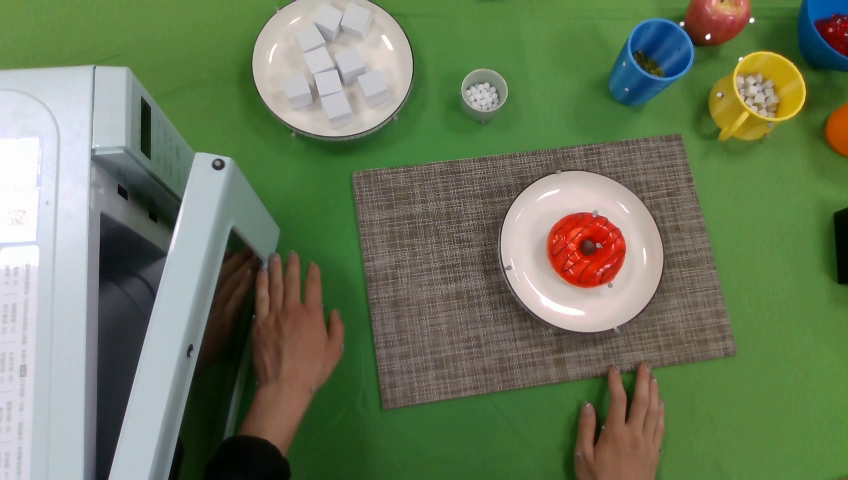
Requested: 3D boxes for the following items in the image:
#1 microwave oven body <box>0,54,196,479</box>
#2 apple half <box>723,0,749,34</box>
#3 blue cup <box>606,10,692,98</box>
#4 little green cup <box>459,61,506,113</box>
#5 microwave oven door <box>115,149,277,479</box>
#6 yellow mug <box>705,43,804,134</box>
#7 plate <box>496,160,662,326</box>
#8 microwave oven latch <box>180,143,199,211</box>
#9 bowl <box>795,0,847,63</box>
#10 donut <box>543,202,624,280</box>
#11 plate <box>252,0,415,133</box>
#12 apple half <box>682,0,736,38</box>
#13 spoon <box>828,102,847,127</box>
[{"bbox_3d":[-0.406,0.087,0.583,0.326,0.261,0.439,-5,79,-6],"label":"microwave oven body"},{"bbox_3d":[0.424,-0.322,0.834,0.033,0.081,0.081,-2,77,-2],"label":"apple half"},{"bbox_3d":[0.284,-0.234,0.791,0.093,0.100,0.092,1,79,-5],"label":"blue cup"},{"bbox_3d":[0.075,-0.200,0.801,0.061,0.039,0.061,1,77,-4],"label":"little green cup"},{"bbox_3d":[-0.215,0.118,0.586,0.039,0.244,0.354,9,77,-2],"label":"microwave oven door"},{"bbox_3d":[0.433,-0.193,0.812,0.100,0.064,0.130,40,79,4],"label":"yellow mug"},{"bbox_3d":[0.191,0.005,0.760,0.209,0.038,0.208,1,78,-4],"label":"plate"},{"bbox_3d":[-0.283,-0.075,0.727,0.030,0.029,0.079,0,78,-5],"label":"microwave oven latch"},{"bbox_3d":[0.578,-0.304,0.841,0.151,0.077,0.150,1,78,-4],"label":"bowl"},{"bbox_3d":[0.196,0.001,0.750,0.099,0.048,0.098,1,78,-2],"label":"donut"},{"bbox_3d":[-0.117,-0.234,0.793,0.208,0.039,0.206,1,77,-4],"label":"plate"},{"bbox_3d":[0.385,-0.320,0.833,0.053,0.075,0.080,-2,81,-1],"label":"apple half"},{"bbox_3d":[0.625,-0.151,0.775,0.041,0.192,0.022,-50,129,-12],"label":"spoon"}]
